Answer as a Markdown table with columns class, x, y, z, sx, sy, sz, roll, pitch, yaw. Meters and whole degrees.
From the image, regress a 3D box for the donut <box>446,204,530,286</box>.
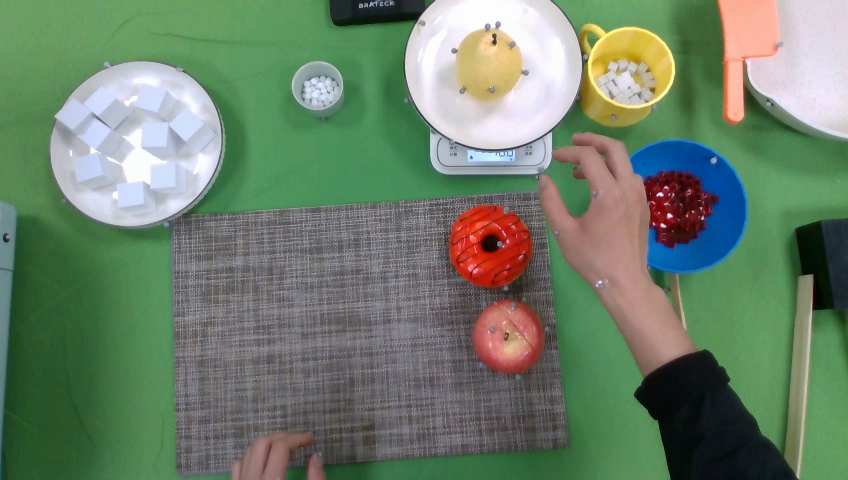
| class | x | y | z | sx | sy | sz | roll | pitch | yaw |
| --- | --- | --- | --- | --- | --- | --- | --- | --- | --- |
| donut | 0.074 | 0.006 | 0.706 | 0.099 | 0.048 | 0.098 | 0 | 81 | 3 |

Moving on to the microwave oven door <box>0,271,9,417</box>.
| class | x | y | z | sx | sy | sz | roll | pitch | yaw |
| --- | --- | --- | --- | --- | --- | --- | --- | --- | --- |
| microwave oven door | -0.497 | 0.194 | 0.569 | 0.039 | 0.244 | 0.354 | -2 | 81 | 0 |

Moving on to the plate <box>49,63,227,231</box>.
| class | x | y | z | sx | sy | sz | roll | pitch | yaw |
| --- | --- | --- | --- | --- | --- | --- | --- | --- | --- |
| plate | -0.340 | -0.110 | 0.734 | 0.208 | 0.039 | 0.207 | 0 | 82 | 0 |

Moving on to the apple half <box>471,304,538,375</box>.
| class | x | y | z | sx | sy | sz | roll | pitch | yaw |
| --- | --- | --- | --- | --- | --- | --- | --- | --- | --- |
| apple half | 0.082 | 0.118 | 0.675 | 0.053 | 0.075 | 0.080 | -40 | 85 | -2 |

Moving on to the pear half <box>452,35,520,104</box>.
| class | x | y | z | sx | sy | sz | roll | pitch | yaw |
| --- | --- | --- | --- | --- | --- | --- | --- | --- | --- |
| pear half | 0.070 | -0.187 | 0.667 | 0.076 | 0.110 | 0.056 | -7 | 81 | 3 |

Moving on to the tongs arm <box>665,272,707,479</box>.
| class | x | y | z | sx | sy | sz | roll | pitch | yaw |
| --- | --- | --- | --- | --- | --- | --- | --- | --- | --- |
| tongs arm | 0.322 | 0.223 | 0.682 | 0.051 | 0.026 | 0.383 | -4 | 82 | -6 |

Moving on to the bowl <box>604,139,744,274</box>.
| class | x | y | z | sx | sy | sz | roll | pitch | yaw |
| --- | --- | --- | --- | --- | --- | --- | --- | --- | --- |
| bowl | 0.274 | -0.033 | 0.697 | 0.151 | 0.077 | 0.151 | 0 | 82 | 1 |

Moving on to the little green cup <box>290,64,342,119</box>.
| class | x | y | z | sx | sy | sz | roll | pitch | yaw |
| --- | --- | --- | --- | --- | --- | --- | --- | --- | --- |
| little green cup | -0.130 | -0.180 | 0.742 | 0.061 | 0.039 | 0.061 | 0 | 81 | 1 |

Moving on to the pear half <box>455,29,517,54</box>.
| class | x | y | z | sx | sy | sz | roll | pitch | yaw |
| --- | --- | --- | --- | --- | --- | --- | --- | --- | --- |
| pear half | 0.068 | -0.220 | 0.682 | 0.070 | 0.088 | 0.031 | -8 | 81 | 2 |

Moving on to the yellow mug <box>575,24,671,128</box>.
| class | x | y | z | sx | sy | sz | roll | pitch | yaw |
| --- | --- | --- | --- | --- | --- | --- | --- | --- | --- |
| yellow mug | 0.226 | -0.205 | 0.728 | 0.100 | 0.064 | 0.130 | -37 | 82 | -4 |

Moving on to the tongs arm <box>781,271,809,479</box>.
| class | x | y | z | sx | sy | sz | roll | pitch | yaw |
| --- | --- | --- | --- | --- | --- | --- | --- | --- | --- |
| tongs arm | 0.408 | 0.225 | 0.686 | 0.028 | 0.028 | 0.386 | 11 | 82 | -7 |

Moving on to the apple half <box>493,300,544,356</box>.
| class | x | y | z | sx | sy | sz | roll | pitch | yaw |
| --- | --- | --- | --- | --- | --- | --- | --- | --- | --- |
| apple half | 0.111 | 0.091 | 0.678 | 0.033 | 0.081 | 0.081 | -42 | 83 | -2 |

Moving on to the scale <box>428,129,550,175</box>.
| class | x | y | z | sx | sy | sz | roll | pitch | yaw |
| --- | --- | --- | --- | --- | --- | --- | --- | --- | --- |
| scale | 0.079 | -0.180 | 0.744 | 0.149 | 0.031 | 0.200 | 0 | 82 | 1 |

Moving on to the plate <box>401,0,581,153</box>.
| class | x | y | z | sx | sy | sz | roll | pitch | yaw |
| --- | --- | --- | --- | --- | --- | --- | --- | --- | --- |
| plate | 0.078 | -0.199 | 0.713 | 0.209 | 0.038 | 0.208 | 0 | 82 | 0 |

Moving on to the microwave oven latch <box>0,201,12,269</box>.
| class | x | y | z | sx | sy | sz | roll | pitch | yaw |
| --- | --- | --- | --- | --- | --- | --- | --- | --- | --- |
| microwave oven latch | -0.500 | -0.007 | 0.702 | 0.030 | 0.029 | 0.079 | 0 | 82 | 0 |

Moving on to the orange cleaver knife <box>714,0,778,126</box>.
| class | x | y | z | sx | sy | sz | roll | pitch | yaw |
| --- | --- | --- | --- | --- | --- | --- | --- | --- | --- |
| orange cleaver knife | 0.365 | -0.234 | 0.694 | 0.077 | 0.012 | 0.210 | 0 | 82 | 3 |

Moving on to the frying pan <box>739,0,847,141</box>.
| class | x | y | z | sx | sy | sz | roll | pitch | yaw |
| --- | --- | --- | --- | --- | --- | --- | --- | --- | --- |
| frying pan | 0.554 | -0.167 | 0.701 | 0.307 | 0.103 | 0.484 | -31 | 75 | -3 |
